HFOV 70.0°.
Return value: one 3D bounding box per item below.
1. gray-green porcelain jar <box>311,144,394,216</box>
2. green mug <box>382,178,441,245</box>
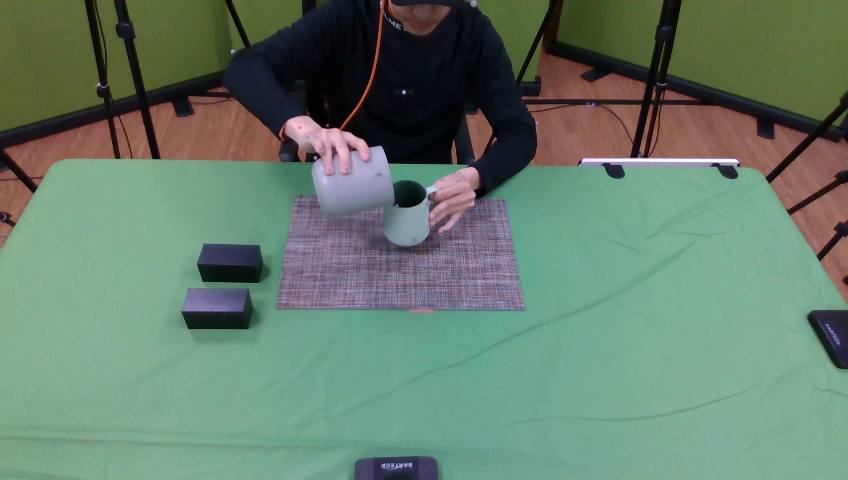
[{"bbox_3d":[-0.125,-0.101,1.046,0.126,0.106,0.105,-13,49,-9],"label":"gray-green porcelain jar"},{"bbox_3d":[-0.021,-0.059,1.148,0.125,0.105,0.092,-29,54,-25],"label":"green mug"}]
